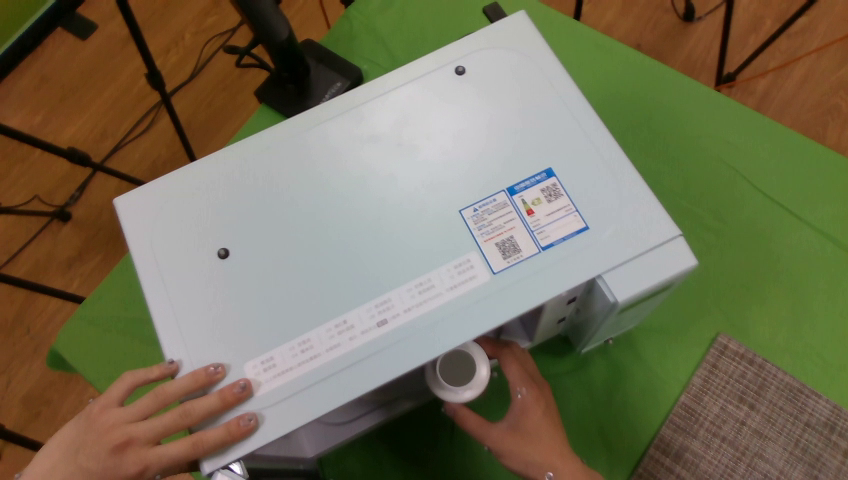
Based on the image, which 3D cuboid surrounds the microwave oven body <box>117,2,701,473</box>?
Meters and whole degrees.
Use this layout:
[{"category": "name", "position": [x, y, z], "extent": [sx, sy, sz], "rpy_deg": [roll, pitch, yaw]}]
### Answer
[{"category": "microwave oven body", "position": [-0.021, 0.016, 0.648], "extent": [0.442, 0.262, 0.323], "rpy_deg": [-26, 70, -4]}]

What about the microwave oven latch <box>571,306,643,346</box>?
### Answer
[{"category": "microwave oven latch", "position": [0.212, 0.094, 0.702], "extent": [0.079, 0.030, 0.030], "rpy_deg": [-25, 70, -3]}]

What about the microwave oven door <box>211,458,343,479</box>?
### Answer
[{"category": "microwave oven door", "position": [0.003, 0.292, 0.541], "extent": [0.354, 0.245, 0.039], "rpy_deg": [22, 73, 13]}]

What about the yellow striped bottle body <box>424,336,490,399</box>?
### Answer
[{"category": "yellow striped bottle body", "position": [0.033, 0.125, 0.604], "extent": [0.063, 0.121, 0.062], "rpy_deg": [-1, 75, 4]}]
